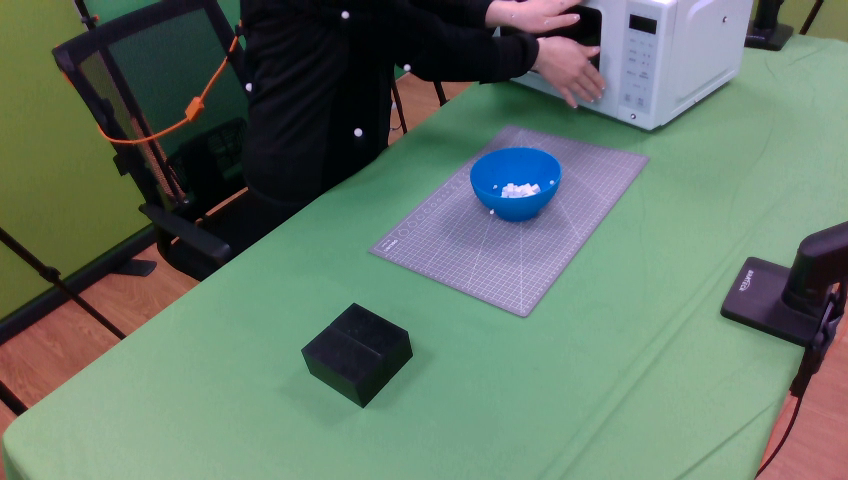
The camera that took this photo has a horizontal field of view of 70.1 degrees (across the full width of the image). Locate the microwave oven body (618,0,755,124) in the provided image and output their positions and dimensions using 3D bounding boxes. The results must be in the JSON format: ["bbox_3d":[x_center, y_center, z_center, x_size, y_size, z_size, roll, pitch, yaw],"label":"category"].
[{"bbox_3d":[0.402,-0.458,1.259,0.327,0.261,0.437,-33,45,-24],"label":"microwave oven body"}]

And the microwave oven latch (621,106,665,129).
[{"bbox_3d":[0.413,-0.237,1.146,0.030,0.029,0.078,-32,44,-23],"label":"microwave oven latch"}]

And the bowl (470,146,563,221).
[{"bbox_3d":[0.155,-0.084,1.008,0.151,0.077,0.150,-6,39,5],"label":"bowl"}]

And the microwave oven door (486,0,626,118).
[{"bbox_3d":[0.262,-0.410,1.221,0.039,0.245,0.352,-33,46,-25],"label":"microwave oven door"}]
